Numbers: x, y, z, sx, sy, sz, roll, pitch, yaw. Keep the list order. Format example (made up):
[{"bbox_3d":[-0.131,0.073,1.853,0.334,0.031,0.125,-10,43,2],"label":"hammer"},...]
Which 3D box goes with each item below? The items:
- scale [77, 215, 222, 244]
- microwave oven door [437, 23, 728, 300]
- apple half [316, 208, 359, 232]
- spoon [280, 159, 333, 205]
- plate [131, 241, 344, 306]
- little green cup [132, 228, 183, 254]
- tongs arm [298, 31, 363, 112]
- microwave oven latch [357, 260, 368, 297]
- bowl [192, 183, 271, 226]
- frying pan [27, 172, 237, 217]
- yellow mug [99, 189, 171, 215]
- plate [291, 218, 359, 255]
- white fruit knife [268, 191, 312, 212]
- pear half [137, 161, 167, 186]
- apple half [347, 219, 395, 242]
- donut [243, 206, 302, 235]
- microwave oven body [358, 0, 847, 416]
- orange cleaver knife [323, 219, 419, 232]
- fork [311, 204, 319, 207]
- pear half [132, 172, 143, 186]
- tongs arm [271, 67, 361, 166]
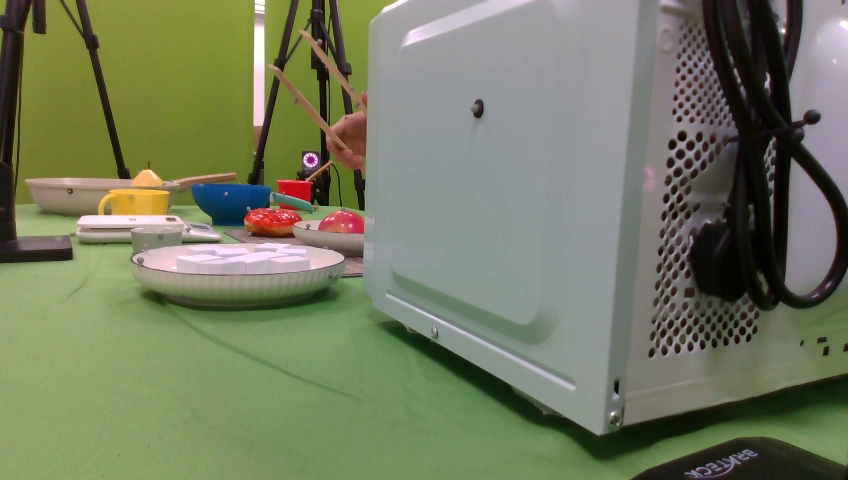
[{"bbox_3d":[-0.434,-0.019,0.963,0.202,0.031,0.148,-1,9,-27],"label":"scale"},{"bbox_3d":[0.180,-0.072,0.621,0.358,0.243,0.039,-2,8,-29],"label":"microwave oven door"},{"bbox_3d":[-0.122,-0.020,0.901,0.080,0.053,0.075,4,11,20],"label":"apple half"},{"bbox_3d":[-0.316,-0.159,1.640,0.194,0.022,0.041,-49,32,-20],"label":"spoon"},{"bbox_3d":[-0.187,0.033,0.625,0.208,0.039,0.207,2,8,0],"label":"plate"},{"bbox_3d":[-0.342,0.006,0.779,0.061,0.038,0.061,2,8,0],"label":"little green cup"},{"bbox_3d":[-0.105,-0.192,0.970,0.026,0.051,0.386,29,-6,28],"label":"tongs arm"},{"bbox_3d":[-0.019,0.033,0.531,0.079,0.029,0.030,-1,7,-27],"label":"microwave oven latch"},{"bbox_3d":[-0.382,-0.071,1.202,0.151,0.077,0.151,3,7,0],"label":"bowl"},{"bbox_3d":[-0.624,-0.118,1.387,0.305,0.102,0.490,8,17,32],"label":"frying pan"},{"bbox_3d":[-0.519,-0.055,1.080,0.099,0.064,0.131,7,10,26],"label":"yellow mug"},{"bbox_3d":[-0.098,-0.007,0.928,0.209,0.038,0.209,2,7,0],"label":"plate"},{"bbox_3d":[-0.364,-0.105,1.464,0.208,0.027,0.016,15,0,-34],"label":"white fruit knife"},{"bbox_3d":[-0.602,-0.120,1.354,0.056,0.110,0.076,4,11,6],"label":"pear half"},{"bbox_3d":[-0.084,-0.018,0.967,0.081,0.033,0.081,5,9,-1],"label":"apple half"},{"bbox_3d":[-0.261,-0.032,1.043,0.099,0.048,0.099,3,9,0],"label":"donut"},{"bbox_3d":[0.211,-0.047,0.475,0.444,0.260,0.324,-1,8,-28],"label":"microwave oven body"},{"bbox_3d":[-0.096,-0.027,1.152,0.077,0.012,0.212,1,6,41],"label":"orange cleaver knife"},{"bbox_3d":[-0.356,-0.105,1.526,0.208,0.018,0.028,16,-5,-41],"label":"fork"},{"bbox_3d":[-0.638,-0.113,1.361,0.031,0.088,0.070,5,11,4],"label":"pear half"},{"bbox_3d":[-0.125,-0.162,0.965,0.027,0.028,0.389,25,-8,28],"label":"tongs arm"}]
